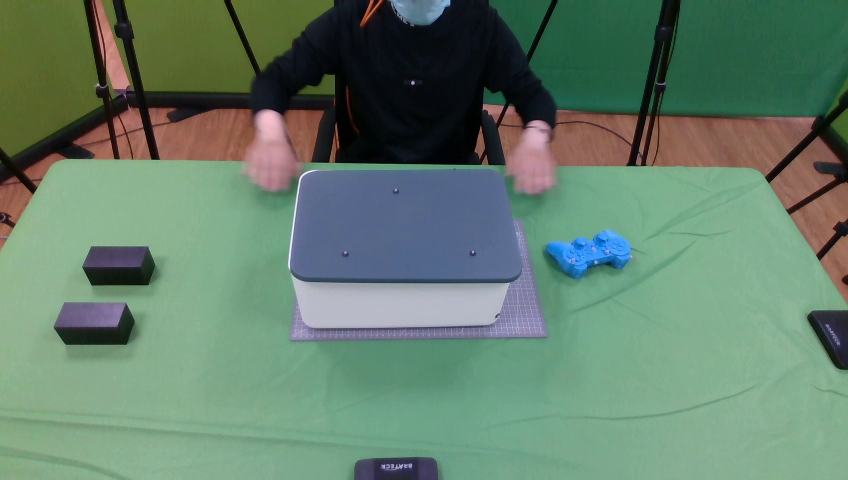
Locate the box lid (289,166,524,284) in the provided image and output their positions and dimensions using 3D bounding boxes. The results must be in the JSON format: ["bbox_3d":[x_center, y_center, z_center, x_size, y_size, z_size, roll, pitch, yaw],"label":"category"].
[{"bbox_3d":[-0.028,-0.032,1.013,0.372,0.015,0.261,0,48,-5],"label":"box lid"}]

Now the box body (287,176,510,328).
[{"bbox_3d":[-0.040,0.015,1.075,0.364,0.161,0.252,-1,47,-4],"label":"box body"}]

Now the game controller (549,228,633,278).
[{"bbox_3d":[0.331,0.016,1.182,0.155,0.052,0.096,-12,52,-13],"label":"game controller"}]
